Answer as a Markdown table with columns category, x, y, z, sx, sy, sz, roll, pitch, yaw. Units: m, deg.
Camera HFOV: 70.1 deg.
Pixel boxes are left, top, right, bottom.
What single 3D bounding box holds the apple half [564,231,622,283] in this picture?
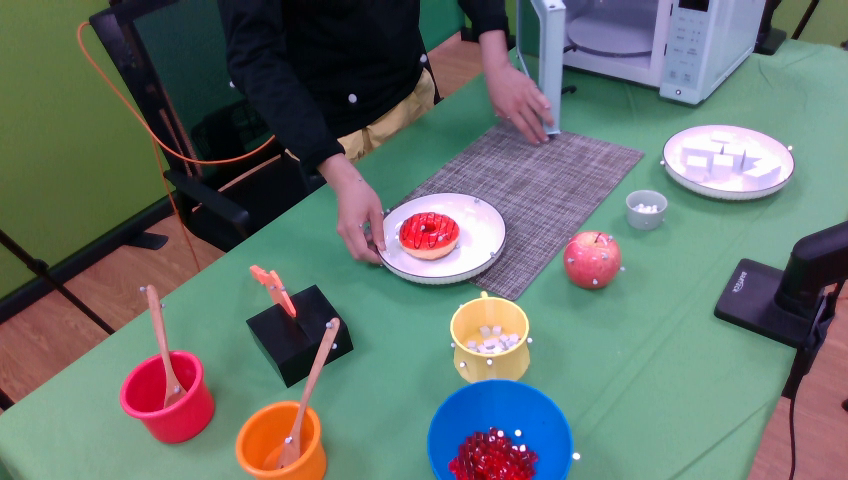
| category | x | y | z | sx | sy | sz | roll | pitch | yaw |
| --- | --- | --- | --- | --- | --- | --- | --- | --- | --- |
| apple half | 0.248 | 0.021 | 0.874 | 0.080 | 0.075 | 0.053 | 13 | 40 | 28 |

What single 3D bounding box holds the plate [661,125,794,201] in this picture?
| category | x | y | z | sx | sy | sz | roll | pitch | yaw |
| --- | --- | --- | --- | --- | --- | --- | --- | --- | --- |
| plate | 0.514 | -0.128 | 1.035 | 0.207 | 0.039 | 0.206 | -4 | 40 | 4 |

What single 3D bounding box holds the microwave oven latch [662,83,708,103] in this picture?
| category | x | y | z | sx | sy | sz | roll | pitch | yaw |
| --- | --- | --- | --- | --- | --- | --- | --- | --- | --- |
| microwave oven latch | 0.518 | -0.296 | 1.204 | 0.078 | 0.029 | 0.030 | 28 | 52 | 35 |

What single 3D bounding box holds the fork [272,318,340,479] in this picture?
| category | x | y | z | sx | sy | sz | roll | pitch | yaw |
| --- | --- | --- | --- | --- | --- | --- | --- | --- | --- |
| fork | -0.131 | 0.186 | 0.676 | 0.028 | 0.019 | 0.207 | 17 | 90 | 28 |

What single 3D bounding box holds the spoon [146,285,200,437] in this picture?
| category | x | y | z | sx | sy | sz | roll | pitch | yaw |
| --- | --- | --- | --- | --- | --- | --- | --- | --- | --- |
| spoon | -0.319 | 0.148 | 0.754 | 0.042 | 0.021 | 0.193 | -15 | 85 | -11 |

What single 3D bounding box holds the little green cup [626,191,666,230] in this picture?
| category | x | y | z | sx | sy | sz | roll | pitch | yaw |
| --- | --- | --- | --- | --- | --- | --- | --- | --- | --- |
| little green cup | 0.352 | -0.046 | 0.963 | 0.061 | 0.039 | 0.061 | -4 | 40 | 4 |

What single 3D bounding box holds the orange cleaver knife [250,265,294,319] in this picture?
| category | x | y | z | sx | sy | sz | roll | pitch | yaw |
| --- | --- | --- | --- | --- | --- | --- | --- | --- | --- |
| orange cleaver knife | -0.221 | 0.073 | 0.876 | 0.012 | 0.077 | 0.210 | -24 | 12 | -22 |

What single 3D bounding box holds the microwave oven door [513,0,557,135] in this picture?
| category | x | y | z | sx | sy | sz | roll | pitch | yaw |
| --- | --- | --- | --- | --- | --- | --- | --- | --- | --- |
| microwave oven door | 0.223 | -0.408 | 1.223 | 0.039 | 0.245 | 0.354 | -6 | 40 | 2 |

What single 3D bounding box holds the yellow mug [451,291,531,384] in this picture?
| category | x | y | z | sx | sy | sz | roll | pitch | yaw |
| --- | --- | --- | --- | --- | --- | --- | --- | --- | --- |
| yellow mug | 0.085 | 0.120 | 0.786 | 0.100 | 0.064 | 0.130 | -7 | 39 | 1 |

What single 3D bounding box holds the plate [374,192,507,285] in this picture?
| category | x | y | z | sx | sy | sz | roll | pitch | yaw |
| --- | --- | --- | --- | --- | --- | --- | --- | --- | --- |
| plate | 0.027 | 0.000 | 0.952 | 0.209 | 0.038 | 0.208 | -4 | 40 | 4 |

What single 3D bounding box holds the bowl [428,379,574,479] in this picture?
| category | x | y | z | sx | sy | sz | roll | pitch | yaw |
| --- | --- | --- | --- | --- | --- | --- | --- | --- | --- |
| bowl | 0.082 | 0.233 | 0.644 | 0.151 | 0.077 | 0.150 | -4 | 39 | 4 |

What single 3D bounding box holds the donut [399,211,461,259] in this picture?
| category | x | y | z | sx | sy | sz | roll | pitch | yaw |
| --- | --- | --- | --- | --- | --- | --- | --- | --- | --- |
| donut | 0.009 | -0.008 | 0.948 | 0.099 | 0.048 | 0.098 | -4 | 38 | 4 |

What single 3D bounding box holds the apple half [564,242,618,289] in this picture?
| category | x | y | z | sx | sy | sz | roll | pitch | yaw |
| --- | --- | --- | --- | --- | --- | --- | --- | --- | --- |
| apple half | 0.229 | 0.044 | 0.848 | 0.081 | 0.081 | 0.033 | 16 | 41 | 26 |

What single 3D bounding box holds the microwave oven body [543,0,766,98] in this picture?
| category | x | y | z | sx | sy | sz | roll | pitch | yaw |
| --- | --- | --- | --- | --- | --- | --- | --- | --- | --- |
| microwave oven body | 0.472 | -0.513 | 1.317 | 0.438 | 0.261 | 0.327 | 26 | 51 | 34 |
